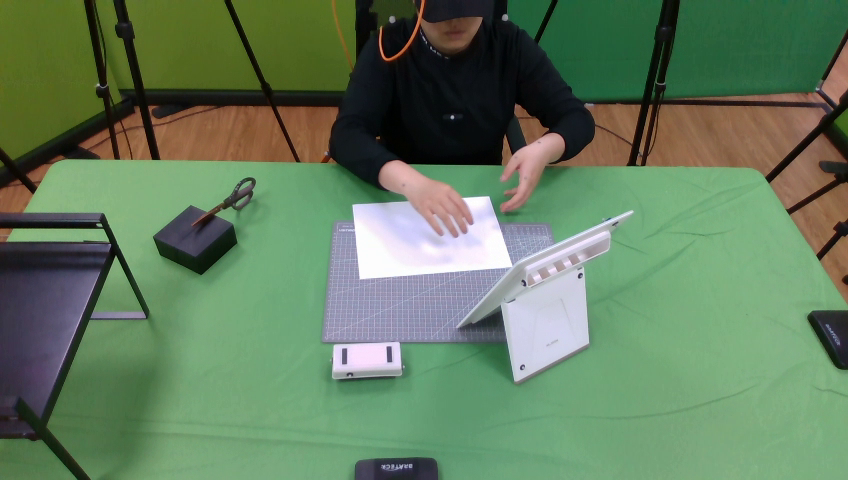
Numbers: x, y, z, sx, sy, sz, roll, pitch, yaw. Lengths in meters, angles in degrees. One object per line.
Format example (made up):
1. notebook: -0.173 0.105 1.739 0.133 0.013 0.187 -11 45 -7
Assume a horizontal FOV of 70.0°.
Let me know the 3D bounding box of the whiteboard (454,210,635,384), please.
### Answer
1. whiteboard: 0.210 0.110 0.955 0.217 0.306 0.143 -21 72 -23

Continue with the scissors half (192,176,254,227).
1. scissors half: -0.388 -0.075 1.174 0.013 0.040 0.174 29 47 8

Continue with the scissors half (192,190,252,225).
1. scissors half: -0.394 -0.060 1.187 0.013 0.040 0.175 25 29 12

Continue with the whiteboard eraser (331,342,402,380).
1. whiteboard eraser: -0.094 0.198 0.986 0.113 0.042 0.055 -2 44 -6

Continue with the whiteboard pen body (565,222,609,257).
1. whiteboard pen body: 0.334 -0.004 1.229 0.141 0.017 0.017 -33 56 -29

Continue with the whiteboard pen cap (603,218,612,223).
1. whiteboard pen cap: 0.378 -0.032 1.255 0.033 0.018 0.018 -33 57 -30
